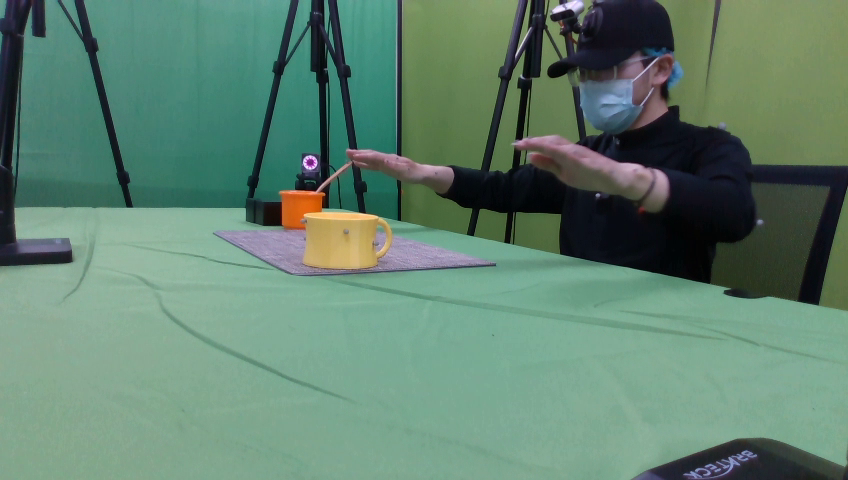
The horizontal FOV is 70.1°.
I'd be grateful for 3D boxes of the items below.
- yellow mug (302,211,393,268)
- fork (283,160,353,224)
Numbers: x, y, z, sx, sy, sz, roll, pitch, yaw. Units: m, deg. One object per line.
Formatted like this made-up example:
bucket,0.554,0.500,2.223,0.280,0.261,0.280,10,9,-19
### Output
yellow mug,-0.098,-0.003,0.810,0.131,0.064,0.099,-2,8,-37
fork,-0.214,-0.100,1.245,0.028,0.019,0.207,1,46,53
